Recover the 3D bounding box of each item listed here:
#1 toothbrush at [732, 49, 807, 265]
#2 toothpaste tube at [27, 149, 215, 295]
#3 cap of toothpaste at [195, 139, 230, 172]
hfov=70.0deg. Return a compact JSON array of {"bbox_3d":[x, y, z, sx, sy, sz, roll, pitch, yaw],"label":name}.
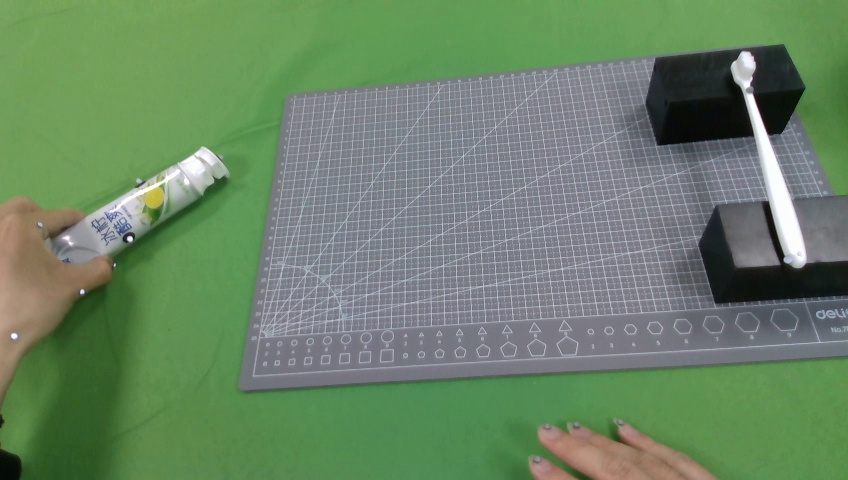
[{"bbox_3d":[0.237,-0.064,0.417,0.014,0.017,0.180,5,60,-2],"label":"toothbrush"},{"bbox_3d":[-0.250,-0.025,0.516,0.165,0.035,0.055,-39,76,-15],"label":"toothpaste tube"},{"bbox_3d":[-0.187,-0.073,0.536,0.037,0.038,0.011,30,66,25],"label":"cap of toothpaste"}]
